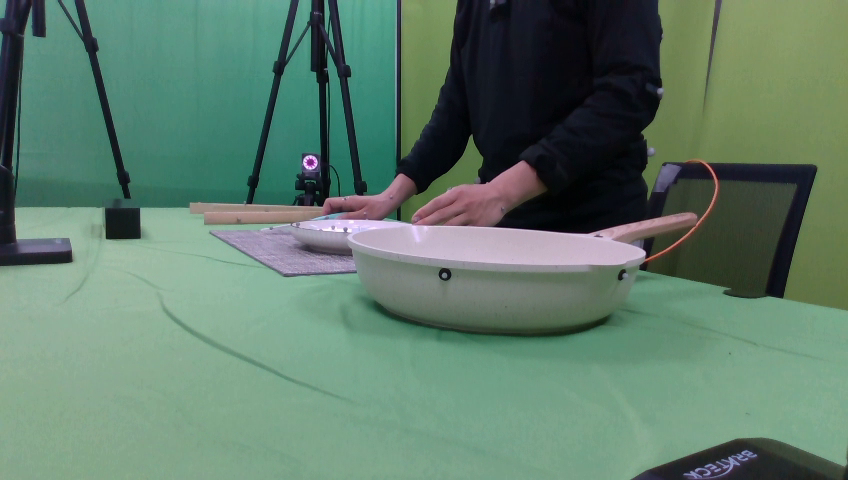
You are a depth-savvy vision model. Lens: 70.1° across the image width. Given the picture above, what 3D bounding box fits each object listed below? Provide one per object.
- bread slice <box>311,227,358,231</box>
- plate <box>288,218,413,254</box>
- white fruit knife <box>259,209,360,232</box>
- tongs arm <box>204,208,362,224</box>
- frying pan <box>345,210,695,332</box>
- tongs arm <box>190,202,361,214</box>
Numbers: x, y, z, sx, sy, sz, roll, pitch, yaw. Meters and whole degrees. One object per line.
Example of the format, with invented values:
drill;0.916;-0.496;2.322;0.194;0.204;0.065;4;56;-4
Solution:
bread slice;-0.115;-0.005;0.950;0.134;0.018;0.107;3;6;-7
plate;-0.109;-0.007;0.956;0.208;0.039;0.207;2;7;0
white fruit knife;-0.209;-0.036;1.133;0.208;0.016;0.027;-13;-11;-34
tongs arm;-0.292;-0.054;1.337;0.390;0.028;0.028;-4;7;-40
frying pan;0.153;0.009;0.668;0.490;0.102;0.305;-12;15;-32
tongs arm;-0.333;-0.068;1.403;0.387;0.026;0.050;0;9;-28
